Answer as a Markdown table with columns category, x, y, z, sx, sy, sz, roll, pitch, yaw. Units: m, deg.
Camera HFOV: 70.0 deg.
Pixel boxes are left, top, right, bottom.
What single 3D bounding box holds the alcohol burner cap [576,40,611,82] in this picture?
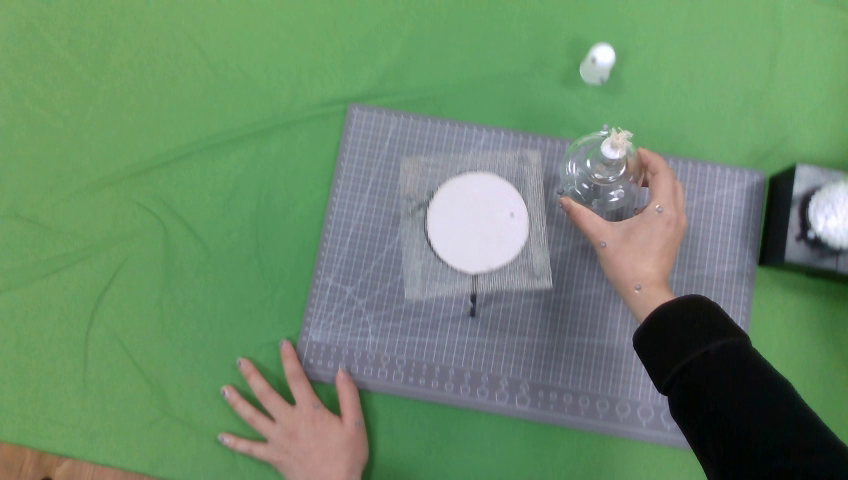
| category | x | y | z | sx | sy | sz | roll | pitch | yaw |
| --- | --- | --- | --- | --- | --- | --- | --- | --- | --- |
| alcohol burner cap | 0.182 | -0.192 | 0.641 | 0.034 | 0.048 | 0.033 | -1 | 82 | 4 |

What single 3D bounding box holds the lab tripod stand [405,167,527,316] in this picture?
| category | x | y | z | sx | sy | sz | roll | pitch | yaw |
| --- | --- | --- | --- | --- | --- | --- | --- | --- | --- |
| lab tripod stand | 0.044 | -0.004 | 0.567 | 0.148 | 0.132 | 0.148 | 0 | 83 | -1 |

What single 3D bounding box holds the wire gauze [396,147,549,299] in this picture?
| category | x | y | z | sx | sy | sz | roll | pitch | yaw |
| --- | --- | --- | --- | --- | --- | --- | --- | --- | --- |
| wire gauze | 0.039 | -0.016 | 0.501 | 0.121 | 0.011 | 0.124 | -3 | 84 | -1 |

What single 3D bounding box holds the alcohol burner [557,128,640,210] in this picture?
| category | x | y | z | sx | sy | sz | roll | pitch | yaw |
| --- | --- | --- | --- | --- | --- | --- | --- | --- | --- |
| alcohol burner | 0.163 | -0.070 | 0.556 | 0.078 | 0.120 | 0.077 | -1 | 76 | 5 |

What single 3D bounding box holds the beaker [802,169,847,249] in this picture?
| category | x | y | z | sx | sy | sz | roll | pitch | yaw |
| --- | --- | --- | --- | --- | --- | --- | --- | --- | --- |
| beaker | 0.397 | -0.036 | 0.538 | 0.074 | 0.100 | 0.084 | 21 | 82 | 4 |
